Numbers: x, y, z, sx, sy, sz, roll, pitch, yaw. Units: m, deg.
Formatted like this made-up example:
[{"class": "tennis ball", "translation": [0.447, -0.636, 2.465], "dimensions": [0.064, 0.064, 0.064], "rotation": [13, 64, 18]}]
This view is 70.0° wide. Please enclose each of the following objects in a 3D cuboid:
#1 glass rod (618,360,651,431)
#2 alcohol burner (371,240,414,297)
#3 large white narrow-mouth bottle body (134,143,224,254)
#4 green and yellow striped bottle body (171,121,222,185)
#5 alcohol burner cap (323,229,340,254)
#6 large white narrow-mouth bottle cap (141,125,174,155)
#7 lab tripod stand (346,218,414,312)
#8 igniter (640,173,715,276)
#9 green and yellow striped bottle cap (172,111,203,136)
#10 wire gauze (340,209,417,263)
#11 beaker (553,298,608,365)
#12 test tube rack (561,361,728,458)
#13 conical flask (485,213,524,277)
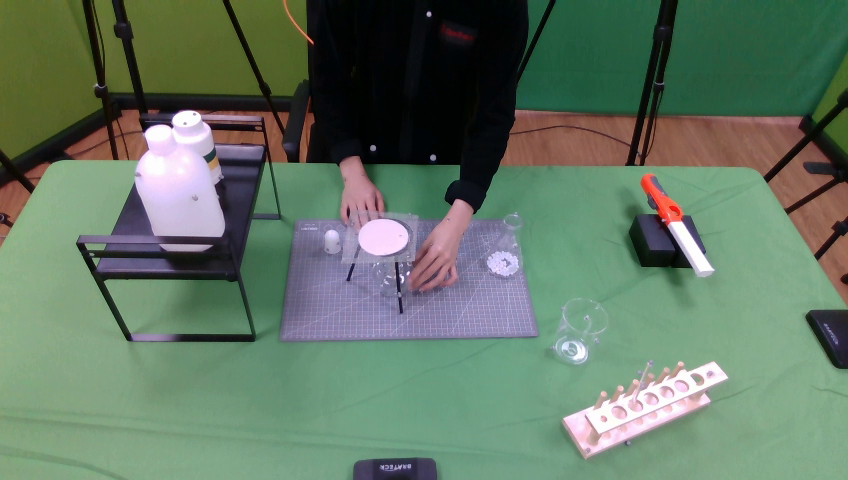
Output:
[{"class": "glass rod", "translation": [0.298, 0.227, 0.865], "dimensions": [0.008, 0.201, 0.008], "rotation": [-1, 48, 2]}, {"class": "alcohol burner", "translation": [-0.057, 0.046, 1.082], "dimensions": [0.078, 0.120, 0.077], "rotation": [1, 46, 0]}, {"class": "large white narrow-mouth bottle body", "translation": [-0.358, -0.075, 0.875], "dimensions": [0.102, 0.195, 0.101], "rotation": [1, 48, -1]}, {"class": "green and yellow striped bottle body", "translation": [-0.375, -0.149, 0.995], "dimensions": [0.063, 0.120, 0.063], "rotation": [2, 46, -2]}, {"class": "alcohol burner cap", "translation": [-0.179, 0.001, 1.165], "dimensions": [0.034, 0.048, 0.033], "rotation": [2, 45, -2]}, {"class": "large white narrow-mouth bottle cap", "translation": [-0.356, -0.134, 0.810], "dimensions": [0.038, 0.024, 0.037], "rotation": [2, 48, -2]}, {"class": "lab tripod stand", "translation": [-0.070, 0.037, 1.075], "dimensions": [0.148, 0.132, 0.147], "rotation": [1, 48, -1]}, {"class": "igniter", "translation": [0.495, -0.039, 1.204], "dimensions": [0.057, 0.025, 0.274], "rotation": [-2, 47, -12]}, {"class": "green and yellow striped bottle cap", "translation": [-0.374, -0.185, 0.958], "dimensions": [0.045, 0.020, 0.045], "rotation": [4, 46, -4]}, {"class": "wire gauze", "translation": [-0.074, -0.007, 1.023], "dimensions": [0.121, 0.011, 0.124], "rotation": [3, 46, 0]}, {"class": "beaker", "translation": [0.260, 0.154, 1.015], "dimensions": [0.073, 0.101, 0.084], "rotation": [37, 54, 27]}, {"class": "test tube rack", "translation": [0.341, 0.248, 0.940], "dimensions": [0.243, 0.085, 0.066], "rotation": [-15, 49, -18]}, {"class": "conical flask", "translation": [0.157, 0.007, 1.129], "dimensions": [0.075, 0.122, 0.075], "rotation": [2, 46, -2]}]
